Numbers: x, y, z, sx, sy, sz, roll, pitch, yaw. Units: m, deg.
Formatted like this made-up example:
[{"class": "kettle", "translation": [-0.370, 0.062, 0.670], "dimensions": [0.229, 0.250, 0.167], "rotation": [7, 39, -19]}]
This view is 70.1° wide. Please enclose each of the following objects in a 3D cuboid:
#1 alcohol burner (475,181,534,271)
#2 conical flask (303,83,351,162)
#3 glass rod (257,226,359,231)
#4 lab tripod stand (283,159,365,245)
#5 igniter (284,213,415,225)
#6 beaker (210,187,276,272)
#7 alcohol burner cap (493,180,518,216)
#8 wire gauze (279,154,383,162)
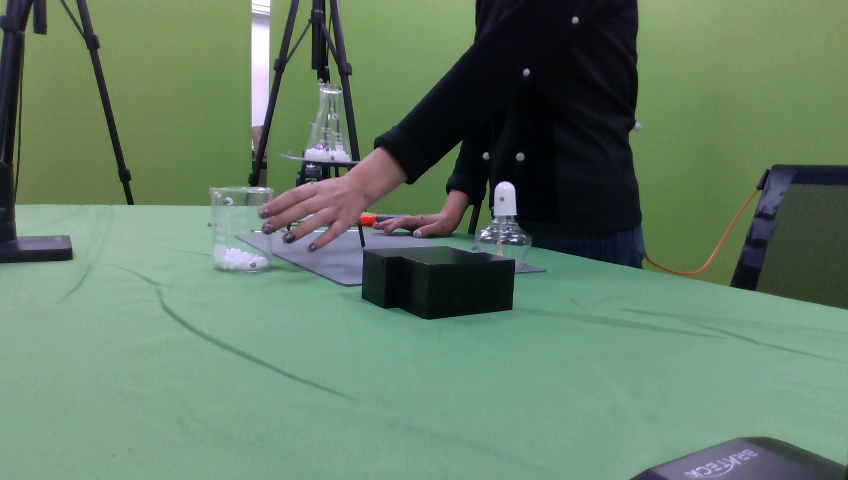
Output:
[{"class": "alcohol burner", "translation": [0.108, -0.020, 0.804], "dimensions": [0.078, 0.119, 0.078], "rotation": [3, 5, 0]}, {"class": "conical flask", "translation": [-0.152, -0.186, 0.963], "dimensions": [0.075, 0.122, 0.075], "rotation": [4, 6, 0]}, {"class": "glass rod", "translation": [-0.216, -0.022, 1.151], "dimensions": [0.201, 0.008, 0.008], "rotation": [-2, 8, -28]}, {"class": "lab tripod stand", "translation": [-0.151, -0.063, 0.983], "dimensions": [0.148, 0.131, 0.148], "rotation": [4, 7, 0]}, {"class": "igniter", "translation": [-0.154, -0.045, 1.282], "dimensions": [0.278, 0.025, 0.057], "rotation": [0, -3, -20]}, {"class": "beaker", "translation": [-0.224, -0.014, 0.738], "dimensions": [0.084, 0.100, 0.074], "rotation": [4, 7, 16]}, {"class": "alcohol burner cap", "translation": [0.108, -0.056, 0.799], "dimensions": [0.034, 0.048, 0.034], "rotation": [0, 4, 0]}, {"class": "wire gauze", "translation": [-0.149, -0.128, 0.974], "dimensions": [0.124, 0.011, 0.122], "rotation": [7, 6, 41]}]
